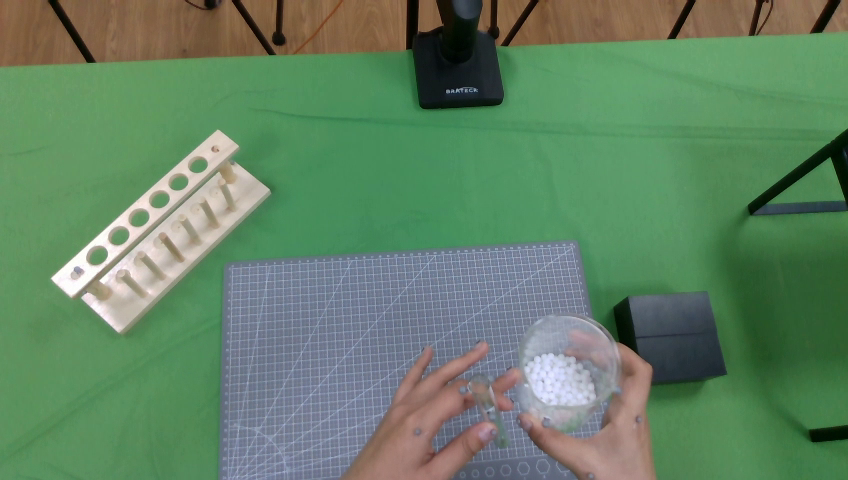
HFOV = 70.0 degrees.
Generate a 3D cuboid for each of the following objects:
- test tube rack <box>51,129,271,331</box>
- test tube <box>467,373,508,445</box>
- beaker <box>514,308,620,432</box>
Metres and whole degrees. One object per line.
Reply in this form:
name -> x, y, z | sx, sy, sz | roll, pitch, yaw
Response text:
test tube rack -> -0.297, -0.012, 0.712 | 0.066, 0.085, 0.242 | 38, 71, 10
test tube -> 0.052, 0.136, 0.474 | 0.017, 0.152, 0.017 | -6, 57, 10
beaker -> 0.108, 0.112, 0.488 | 0.073, 0.101, 0.084 | 31, 68, 21
